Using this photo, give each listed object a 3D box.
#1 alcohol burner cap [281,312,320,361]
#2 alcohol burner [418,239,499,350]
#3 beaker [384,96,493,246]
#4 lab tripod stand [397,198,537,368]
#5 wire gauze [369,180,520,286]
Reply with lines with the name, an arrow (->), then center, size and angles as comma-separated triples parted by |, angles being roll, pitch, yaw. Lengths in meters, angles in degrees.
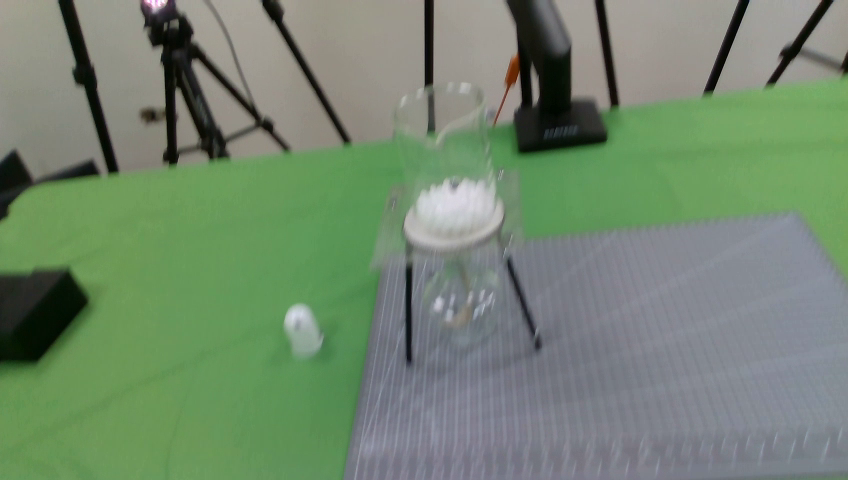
alcohol burner cap -> -0.125, 0.093, 0.604 | 0.034, 0.048, 0.033 | -7, 38, 6
alcohol burner -> 0.030, 0.045, 0.560 | 0.078, 0.120, 0.077 | -6, 38, 5
beaker -> 0.015, -0.051, 0.482 | 0.074, 0.101, 0.083 | -6, 37, 11
lab tripod stand -> 0.030, 0.037, 0.554 | 0.148, 0.133, 0.147 | -9, 35, 7
wire gauze -> 0.018, -0.013, 0.512 | 0.121, 0.011, 0.124 | -7, 38, 10
